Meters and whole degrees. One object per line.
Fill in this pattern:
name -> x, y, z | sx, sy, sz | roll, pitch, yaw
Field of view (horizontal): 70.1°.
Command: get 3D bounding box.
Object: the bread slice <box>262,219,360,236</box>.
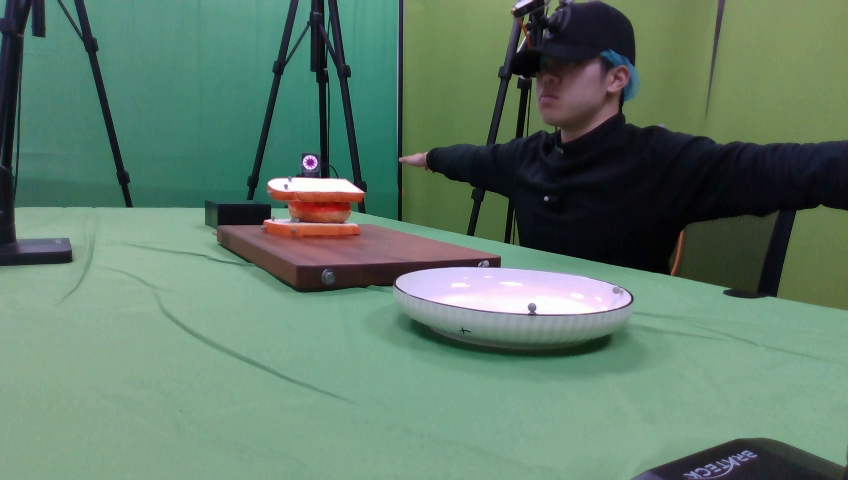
bread slice -> -0.179, -0.021, 0.931 | 0.132, 0.019, 0.104 | -2, 7, -35

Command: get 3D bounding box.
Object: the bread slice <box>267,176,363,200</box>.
bread slice -> -0.169, -0.079, 0.923 | 0.135, 0.018, 0.106 | -4, 18, -26

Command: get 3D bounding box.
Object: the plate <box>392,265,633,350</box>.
plate -> 0.075, 0.057, 0.533 | 0.209, 0.038, 0.209 | 3, 7, 0

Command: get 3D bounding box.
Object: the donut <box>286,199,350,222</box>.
donut -> -0.165, -0.051, 0.938 | 0.099, 0.048, 0.099 | 4, 8, 0
